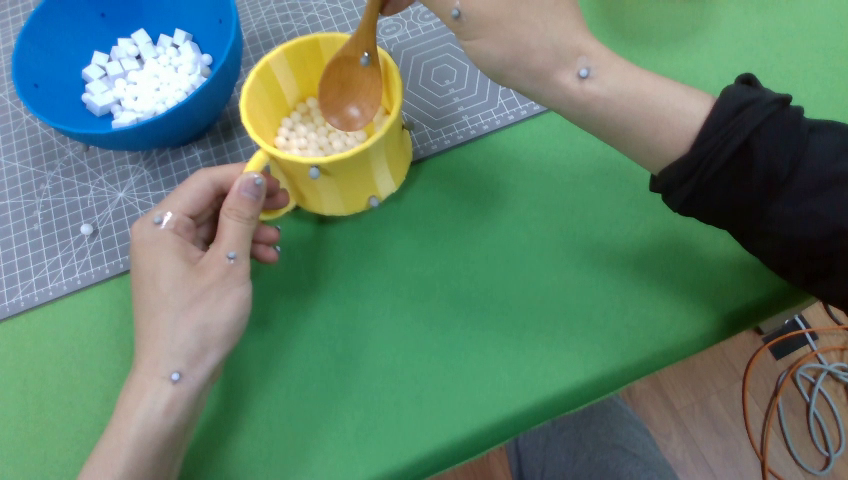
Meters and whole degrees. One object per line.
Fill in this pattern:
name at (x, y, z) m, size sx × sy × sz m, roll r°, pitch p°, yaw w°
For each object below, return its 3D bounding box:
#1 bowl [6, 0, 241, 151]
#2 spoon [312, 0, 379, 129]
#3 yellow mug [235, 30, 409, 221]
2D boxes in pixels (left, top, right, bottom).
bowl at (-0.194, -0.118, 0.427) m, size 0.151 × 0.077 × 0.150 m, roll -1°, pitch 67°, yaw 4°
spoon at (-0.027, -0.135, 0.329) m, size 0.042 × 0.194 × 0.021 m, roll 20°, pitch 52°, yaw -8°
yellow mug at (-0.071, -0.064, 0.387) m, size 0.099 × 0.064 × 0.130 m, roll 34°, pitch 72°, yaw 18°
